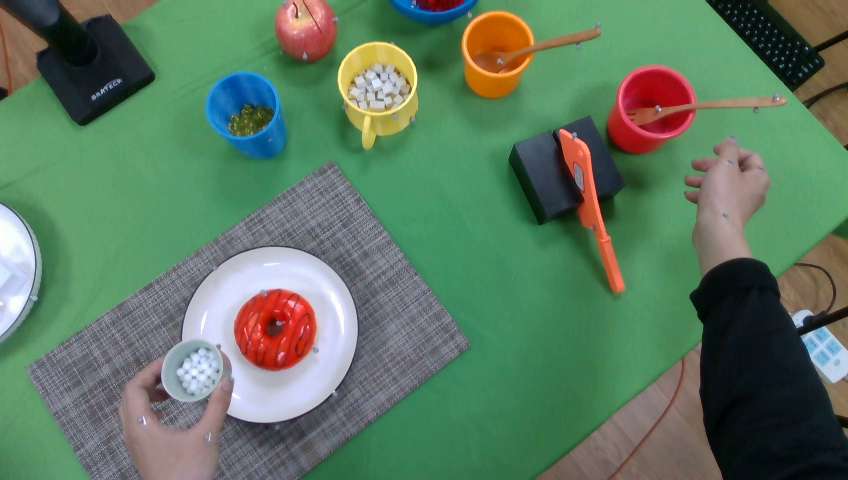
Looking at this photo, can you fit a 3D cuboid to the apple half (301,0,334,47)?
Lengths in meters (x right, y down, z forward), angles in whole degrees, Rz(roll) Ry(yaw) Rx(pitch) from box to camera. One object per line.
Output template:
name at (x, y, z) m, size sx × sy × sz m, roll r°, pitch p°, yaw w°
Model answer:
apple half at (-0.137, -0.296, 0.796) m, size 0.033 × 0.081 × 0.081 m, roll -30°, pitch 79°, yaw -4°

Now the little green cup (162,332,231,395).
little green cup at (-0.227, 0.126, 0.611) m, size 0.061 × 0.039 × 0.061 m, roll -1°, pitch 75°, yaw 5°

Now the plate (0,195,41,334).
plate at (-0.569, 0.037, 0.739) m, size 0.208 × 0.039 × 0.206 m, roll 0°, pitch 78°, yaw -1°

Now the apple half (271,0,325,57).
apple half at (-0.170, -0.276, 0.793) m, size 0.053 × 0.075 × 0.080 m, roll -31°, pitch 83°, yaw -4°

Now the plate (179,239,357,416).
plate at (-0.183, 0.103, 0.726) m, size 0.209 × 0.038 × 0.208 m, roll 0°, pitch 78°, yaw 0°

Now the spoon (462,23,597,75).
spoon at (0.125, -0.239, 0.751) m, size 0.022 × 0.192 × 0.041 m, roll 22°, pitch 74°, yaw -41°

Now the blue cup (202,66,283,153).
blue cup at (-0.215, -0.152, 0.752) m, size 0.093 × 0.100 × 0.092 m, roll 0°, pitch 79°, yaw -2°

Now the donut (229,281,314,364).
donut at (-0.179, 0.097, 0.716) m, size 0.099 × 0.048 × 0.098 m, roll 0°, pitch 79°, yaw 0°

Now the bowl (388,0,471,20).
bowl at (0.007, -0.352, 0.809) m, size 0.151 × 0.077 × 0.150 m, roll 0°, pitch 79°, yaw -1°

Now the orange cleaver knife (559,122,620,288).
orange cleaver knife at (0.201, -0.042, 0.743) m, size 0.012 × 0.076 × 0.212 m, roll -21°, pitch 108°, yaw -1°

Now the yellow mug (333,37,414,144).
yellow mug at (-0.066, -0.186, 0.778) m, size 0.100 × 0.064 × 0.130 m, roll 11°, pitch 79°, yaw 1°

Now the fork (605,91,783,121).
fork at (0.321, -0.166, 0.739) m, size 0.206 × 0.019 × 0.028 m, roll 2°, pitch 60°, yaw 43°
